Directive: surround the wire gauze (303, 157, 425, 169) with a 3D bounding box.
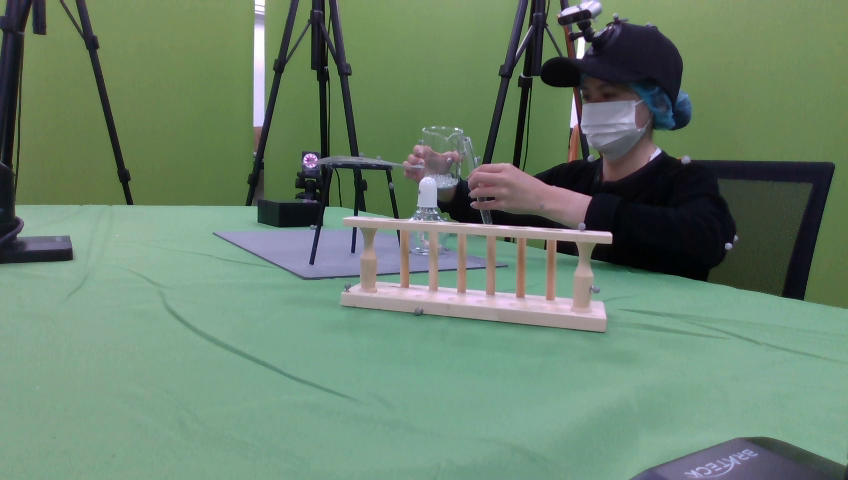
[{"bbox_3d":[-0.082,-0.102,0.799,0.126,0.011,0.121,-1,7,-30],"label":"wire gauze"}]

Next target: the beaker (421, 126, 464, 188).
[{"bbox_3d":[0.032,-0.146,1.068,0.074,0.100,0.083,-2,20,-9],"label":"beaker"}]

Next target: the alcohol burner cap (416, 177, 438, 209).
[{"bbox_3d":[0.005,-0.072,0.914,0.034,0.048,0.034,3,10,0],"label":"alcohol burner cap"}]

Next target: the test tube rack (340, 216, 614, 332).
[{"bbox_3d":[0.048,0.026,0.568,0.242,0.085,0.067,4,7,13],"label":"test tube rack"}]

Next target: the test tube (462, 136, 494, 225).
[{"bbox_3d":[0.086,-0.094,0.965,0.017,0.150,0.017,-14,-6,-1],"label":"test tube"}]

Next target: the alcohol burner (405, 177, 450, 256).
[{"bbox_3d":[0.004,-0.036,0.917,0.078,0.119,0.078,3,6,0],"label":"alcohol burner"}]

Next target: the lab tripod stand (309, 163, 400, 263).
[{"bbox_3d":[-0.091,-0.037,0.813,0.148,0.131,0.148,1,6,0],"label":"lab tripod stand"}]
